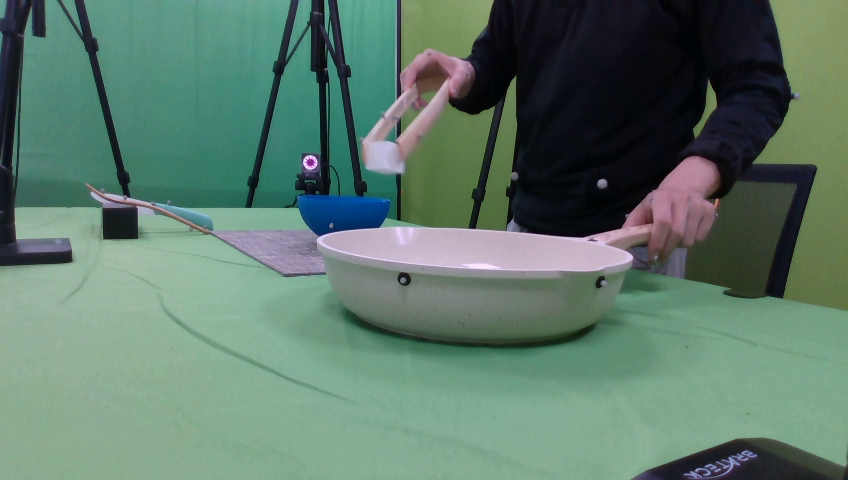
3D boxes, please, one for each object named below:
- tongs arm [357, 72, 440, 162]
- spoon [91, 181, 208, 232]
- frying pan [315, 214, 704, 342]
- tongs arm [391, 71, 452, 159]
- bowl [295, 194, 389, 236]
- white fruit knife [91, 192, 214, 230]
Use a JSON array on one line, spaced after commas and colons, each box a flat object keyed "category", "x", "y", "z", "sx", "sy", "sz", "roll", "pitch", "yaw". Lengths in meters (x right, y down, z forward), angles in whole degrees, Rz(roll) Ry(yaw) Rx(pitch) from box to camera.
[{"category": "tongs arm", "x": -0.024, "y": -0.185, "z": 0.851, "sx": 0.050, "sy": 0.026, "sz": 0.384, "roll": -6, "pitch": 25, "yaw": 12}, {"category": "spoon", "x": -0.461, "y": -0.053, "z": 1.023, "sx": 0.195, "sy": 0.021, "sz": 0.041, "roll": 21, "pitch": 24, "yaw": -24}, {"category": "frying pan", "x": 0.133, "y": 0.014, "z": 0.629, "sx": 0.490, "sy": 0.102, "sz": 0.305, "roll": -11, "pitch": 14, "yaw": -29}, {"category": "tongs arm", "x": 0.002, "y": -0.187, "z": 0.845, "sx": 0.028, "sy": 0.028, "sz": 0.387, "roll": -8, "pitch": 24, "yaw": 16}, {"category": "bowl", "x": -0.132, "y": -0.032, "z": 0.980, "sx": 0.151, "sy": 0.077, "sz": 0.151, "roll": 2, "pitch": 7, "yaw": 0}, {"category": "white fruit knife", "x": -0.477, "y": -0.055, "z": 1.077, "sx": 0.208, "sy": 0.027, "sz": 0.016, "roll": 15, "pitch": -5, "yaw": -30}]
